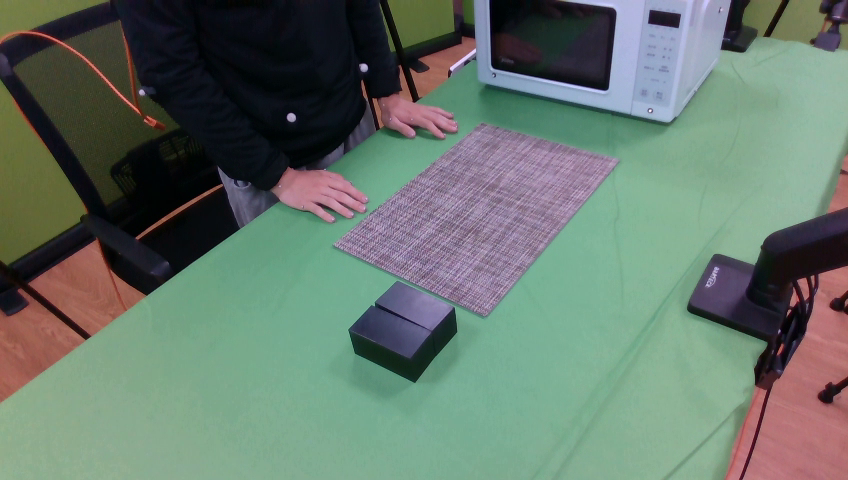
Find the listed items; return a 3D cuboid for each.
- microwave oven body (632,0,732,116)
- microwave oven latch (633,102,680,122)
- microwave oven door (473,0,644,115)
[{"bbox_3d":[0.377,-0.462,1.267,0.438,0.261,0.327,21,48,30],"label":"microwave oven body"},{"bbox_3d":[0.444,-0.249,1.157,0.078,0.029,0.030,21,49,30],"label":"microwave oven latch"},{"bbox_3d":[0.257,-0.396,1.199,0.353,0.245,0.039,21,48,29],"label":"microwave oven door"}]
